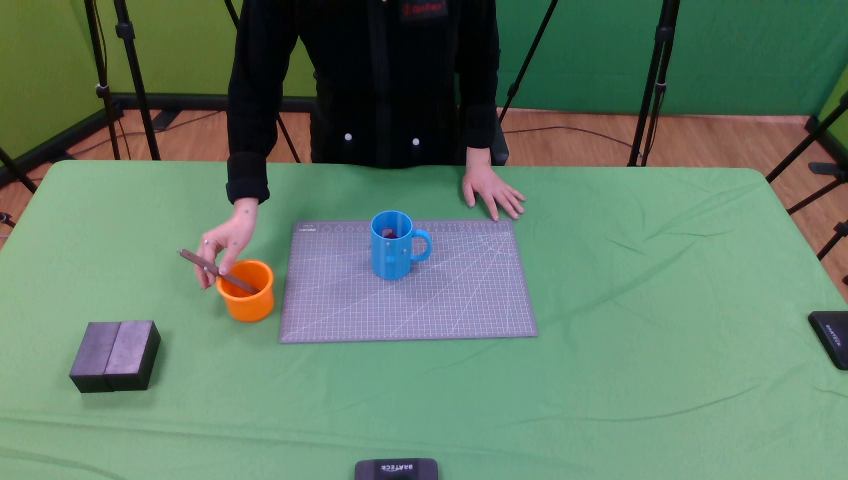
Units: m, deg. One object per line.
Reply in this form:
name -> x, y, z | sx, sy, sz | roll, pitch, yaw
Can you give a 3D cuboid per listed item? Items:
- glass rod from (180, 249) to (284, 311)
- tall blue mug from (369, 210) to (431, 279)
glass rod -> -0.321, 0.070, 1.024 | 0.200, 0.008, 0.008 | 36, 42, -23
tall blue mug -> -0.049, 0.005, 1.125 | 0.107, 0.108, 0.077 | -19, 50, -21
